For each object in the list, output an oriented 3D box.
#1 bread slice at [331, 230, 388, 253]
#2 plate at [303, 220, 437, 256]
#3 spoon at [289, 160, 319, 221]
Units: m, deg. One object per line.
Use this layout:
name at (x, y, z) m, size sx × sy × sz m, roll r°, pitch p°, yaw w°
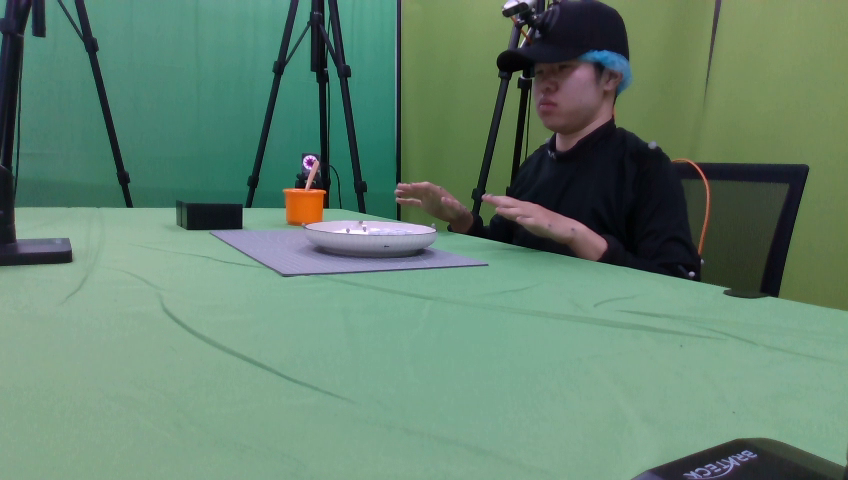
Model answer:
bread slice at (-0.088, 0.000, 0.947) m, size 0.105 × 0.019 × 0.131 m, roll -4°, pitch 11°, yaw -44°
plate at (-0.084, -0.003, 0.951) m, size 0.209 × 0.038 × 0.209 m, roll 3°, pitch 7°, yaw 0°
spoon at (-0.259, -0.112, 1.339) m, size 0.041 × 0.193 × 0.022 m, roll 1°, pitch -37°, yaw 11°
